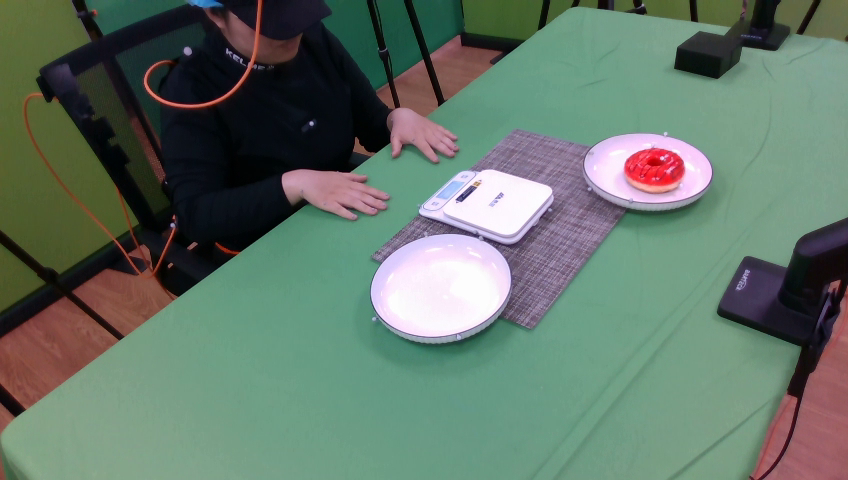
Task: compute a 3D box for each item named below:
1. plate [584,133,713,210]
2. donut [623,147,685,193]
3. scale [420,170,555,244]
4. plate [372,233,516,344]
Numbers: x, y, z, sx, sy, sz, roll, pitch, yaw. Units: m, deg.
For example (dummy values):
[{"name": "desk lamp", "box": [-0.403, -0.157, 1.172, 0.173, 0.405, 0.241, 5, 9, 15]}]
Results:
[{"name": "plate", "box": [0.379, -0.113, 1.030, 0.209, 0.038, 0.208, -4, 41, 4]}, {"name": "donut", "box": [0.388, -0.119, 1.019, 0.099, 0.048, 0.098, -4, 42, 4]}, {"name": "scale", "box": [0.106, -0.065, 1.029, 0.199, 0.032, 0.149, 21, 48, 32]}, {"name": "plate", "box": [0.030, 0.072, 0.880, 0.207, 0.039, 0.206, -6, 42, 6]}]
